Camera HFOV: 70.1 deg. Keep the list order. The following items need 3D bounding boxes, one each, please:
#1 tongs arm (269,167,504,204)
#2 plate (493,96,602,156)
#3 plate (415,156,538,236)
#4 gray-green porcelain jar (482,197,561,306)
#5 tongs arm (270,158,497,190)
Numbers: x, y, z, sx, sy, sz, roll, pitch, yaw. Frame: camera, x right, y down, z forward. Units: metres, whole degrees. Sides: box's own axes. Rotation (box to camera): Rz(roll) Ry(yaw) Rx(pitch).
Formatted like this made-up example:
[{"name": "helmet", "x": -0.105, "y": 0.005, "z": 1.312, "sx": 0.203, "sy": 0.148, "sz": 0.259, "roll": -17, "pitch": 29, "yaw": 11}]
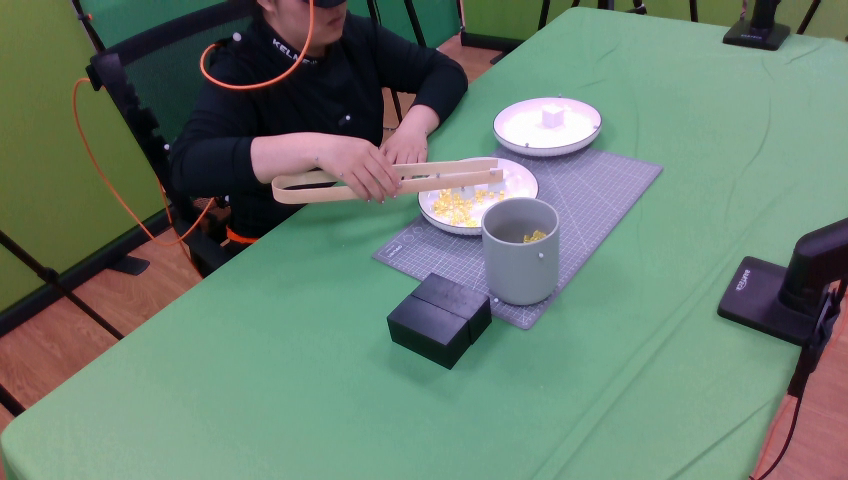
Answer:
[{"name": "tongs arm", "x": -0.056, "y": -0.096, "z": 1.001, "sx": 0.386, "sy": 0.026, "sz": 0.050, "roll": -9, "pitch": 38, "yaw": -14}, {"name": "plate", "x": 0.238, "y": -0.218, "z": 1.180, "sx": 0.209, "sy": 0.038, "sz": 0.208, "roll": -4, "pitch": 39, "yaw": 4}, {"name": "plate", "x": 0.090, "y": -0.072, "z": 1.034, "sx": 0.207, "sy": 0.039, "sz": 0.206, "roll": -5, "pitch": 40, "yaw": 5}, {"name": "gray-green porcelain jar", "x": 0.138, "y": 0.020, "z": 0.846, "sx": 0.106, "sy": 0.127, "sz": 0.105, "roll": -5, "pitch": 40, "yaw": 5}, {"name": "tongs arm", "x": -0.061, "y": -0.111, "z": 1.020, "sx": 0.389, "sy": 0.028, "sz": 0.028, "roll": -6, "pitch": 41, "yaw": -11}]
